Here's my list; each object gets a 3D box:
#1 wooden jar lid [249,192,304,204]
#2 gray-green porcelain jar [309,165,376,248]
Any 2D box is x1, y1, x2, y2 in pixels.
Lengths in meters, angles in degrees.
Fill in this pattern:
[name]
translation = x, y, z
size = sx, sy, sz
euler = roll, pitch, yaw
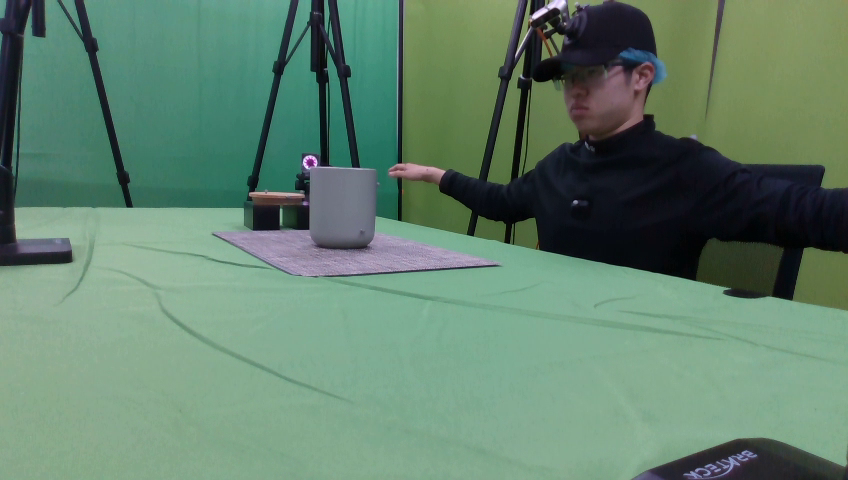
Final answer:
[wooden jar lid]
translation = -0.297, -0.086, 1.220
size = 0.108, 0.020, 0.108
euler = 4, 7, 0
[gray-green porcelain jar]
translation = -0.130, -0.054, 0.966
size = 0.106, 0.126, 0.106
euler = 2, 7, 0
